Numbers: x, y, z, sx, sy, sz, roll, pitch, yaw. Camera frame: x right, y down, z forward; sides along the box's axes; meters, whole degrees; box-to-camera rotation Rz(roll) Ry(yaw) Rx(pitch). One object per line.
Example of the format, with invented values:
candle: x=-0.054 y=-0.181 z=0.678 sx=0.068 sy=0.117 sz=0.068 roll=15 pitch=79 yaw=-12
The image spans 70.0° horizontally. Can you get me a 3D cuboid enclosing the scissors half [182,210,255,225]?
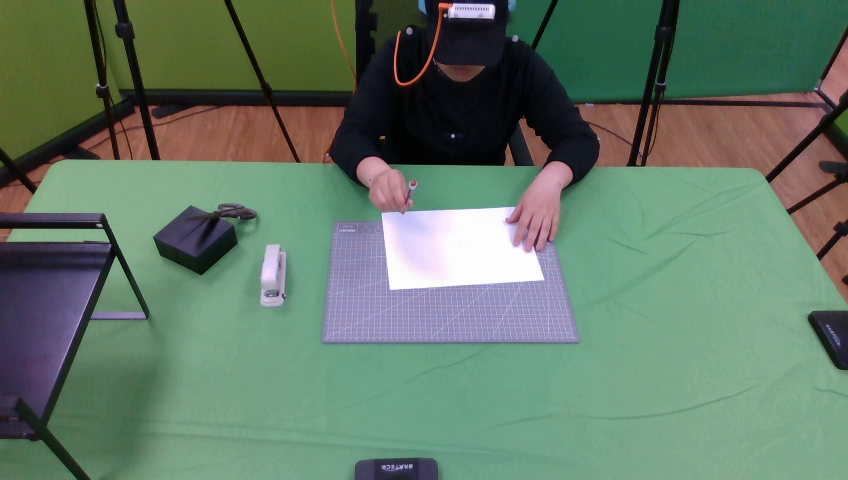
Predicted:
scissors half: x=-0.389 y=-0.042 z=1.158 sx=0.040 sy=0.013 sz=0.175 roll=41 pitch=21 yaw=22

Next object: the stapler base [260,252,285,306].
stapler base: x=-0.279 y=0.064 z=1.113 sx=0.041 sy=0.024 sz=0.129 roll=-1 pitch=44 yaw=-9

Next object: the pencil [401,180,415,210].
pencil: x=-0.030 y=-0.074 z=1.050 sx=0.012 sy=0.194 sz=0.012 roll=1 pitch=80 yaw=-7

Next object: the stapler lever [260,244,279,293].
stapler lever: x=-0.279 y=0.045 z=1.096 sx=0.027 sy=0.040 sz=0.117 roll=-2 pitch=44 yaw=-9

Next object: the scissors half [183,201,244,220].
scissors half: x=-0.405 y=-0.054 z=1.163 sx=0.040 sy=0.013 sz=0.175 roll=29 pitch=18 yaw=7
